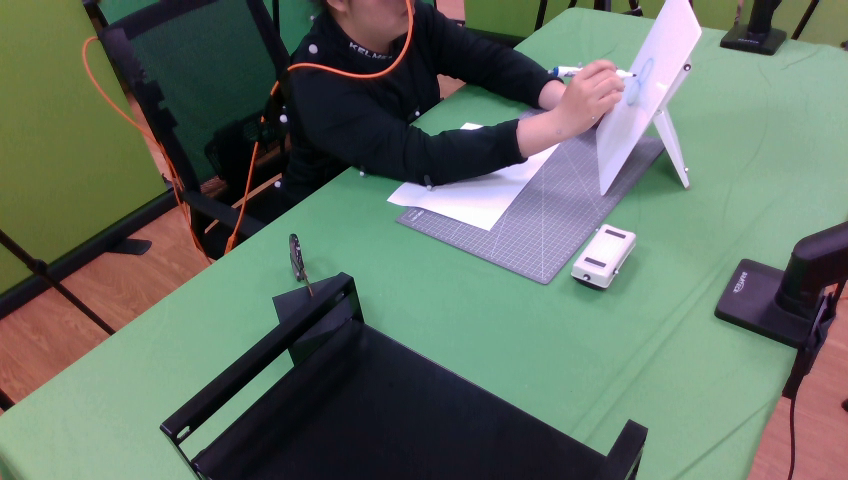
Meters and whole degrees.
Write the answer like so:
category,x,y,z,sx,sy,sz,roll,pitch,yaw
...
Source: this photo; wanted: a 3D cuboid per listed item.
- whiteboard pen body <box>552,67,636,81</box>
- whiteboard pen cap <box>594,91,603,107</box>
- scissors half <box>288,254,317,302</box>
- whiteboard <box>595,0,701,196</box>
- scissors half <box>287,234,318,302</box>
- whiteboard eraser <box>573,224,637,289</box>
category,x,y,z,sx,sy,sz,roll,pitch,yaw
whiteboard pen body,0.280,-0.270,0.990,0.141,0.017,0.017,2,40,-7
whiteboard pen cap,0.364,-0.294,1.262,0.018,0.033,0.018,-5,41,5
scissors half,-0.178,0.058,0.894,0.013,0.040,0.174,-16,21,-18
whiteboard,0.421,-0.227,1.010,0.144,0.305,0.216,18,42,-2
scissors half,-0.178,0.040,0.885,0.013,0.040,0.173,-11,37,-21
whiteboard eraser,0.267,0.025,0.891,0.055,0.042,0.113,19,47,31
